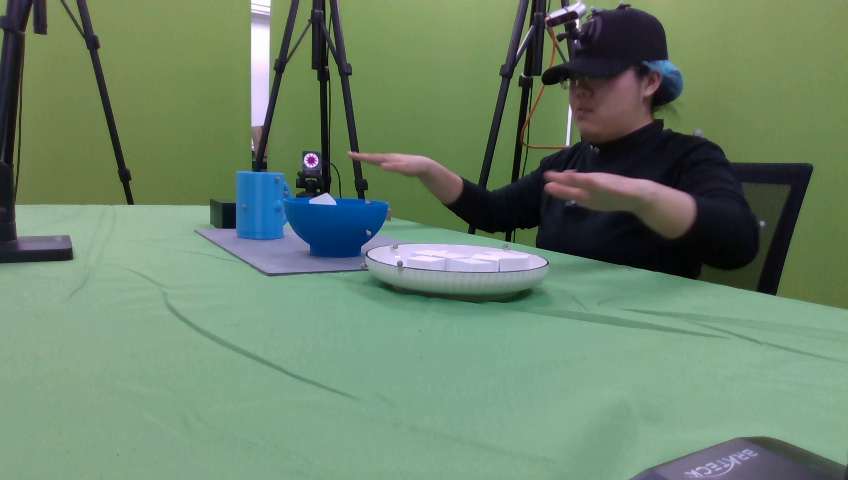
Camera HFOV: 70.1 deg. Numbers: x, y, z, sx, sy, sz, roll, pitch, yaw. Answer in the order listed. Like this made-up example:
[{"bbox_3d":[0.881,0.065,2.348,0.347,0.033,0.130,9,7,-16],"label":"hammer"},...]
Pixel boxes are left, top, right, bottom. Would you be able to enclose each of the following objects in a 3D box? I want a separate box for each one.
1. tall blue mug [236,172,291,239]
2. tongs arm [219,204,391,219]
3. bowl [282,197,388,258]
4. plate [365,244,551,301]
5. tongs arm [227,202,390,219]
[{"bbox_3d":[-0.273,-0.061,1.026,0.078,0.108,0.107,2,7,-1],"label":"tall blue mug"},{"bbox_3d":[-0.258,-0.065,1.367,0.386,0.026,0.050,1,3,-17],"label":"tongs arm"},{"bbox_3d":[-0.127,-0.018,0.868,0.151,0.077,0.151,3,7,0],"label":"bowl"},{"bbox_3d":[0.038,0.035,0.685,0.209,0.038,0.209,2,7,0],"label":"plate"},{"bbox_3d":[-0.275,-0.072,1.446,0.388,0.027,0.028,2,-1,-4],"label":"tongs arm"}]
